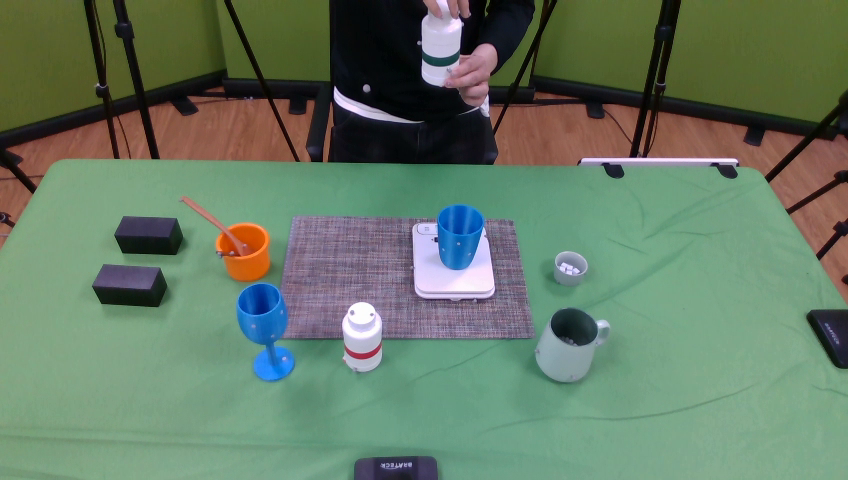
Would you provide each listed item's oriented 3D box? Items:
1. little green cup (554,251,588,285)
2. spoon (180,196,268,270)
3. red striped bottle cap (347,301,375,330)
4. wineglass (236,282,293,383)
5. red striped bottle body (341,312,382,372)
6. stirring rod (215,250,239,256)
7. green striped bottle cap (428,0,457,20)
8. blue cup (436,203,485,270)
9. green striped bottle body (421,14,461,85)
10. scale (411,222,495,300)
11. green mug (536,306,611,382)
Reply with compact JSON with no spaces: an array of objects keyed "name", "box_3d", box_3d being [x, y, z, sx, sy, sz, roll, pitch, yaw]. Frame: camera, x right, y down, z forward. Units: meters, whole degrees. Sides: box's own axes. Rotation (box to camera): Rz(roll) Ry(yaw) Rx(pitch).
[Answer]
[{"name":"little green cup","box_3d":[0.277,0.055,1.151,0.061,0.039,0.061,1,46,-1]},{"name":"spoon","box_3d":[-0.360,-0.014,1.094,0.021,0.194,0.041,-27,26,31]},{"name":"red striped bottle cap","box_3d":[-0.097,0.116,0.934,0.044,0.018,0.044,3,48,-3]},{"name":"wineglass","box_3d":[-0.243,0.143,0.934,0.074,0.173,0.073,2,46,-2]},{"name":"red striped bottle body","box_3d":[-0.100,0.154,0.972,0.063,0.120,0.062,2,46,-2]},{"name":"stirring rod","box_3d":[-0.339,0.024,1.059,0.014,0.176,0.006,17,86,-6]},{"name":"green striped bottle cap","box_3d":[0.029,-0.353,0.923,0.044,0.020,0.044,1,43,0]},{"name":"blue cup","box_3d":[0.062,-0.001,1.099,0.093,0.101,0.092,2,44,-2]},{"name":"green striped bottle body","box_3d":[0.026,-0.315,0.968,0.063,0.120,0.063,1,49,-1]},{"name":"scale","box_3d":[0.052,0.031,1.158,0.149,0.032,0.199,1,46,-4]},{"name":"green mug","box_3d":[0.250,0.167,0.996,0.125,0.105,0.092,-15,48,-18]}]
